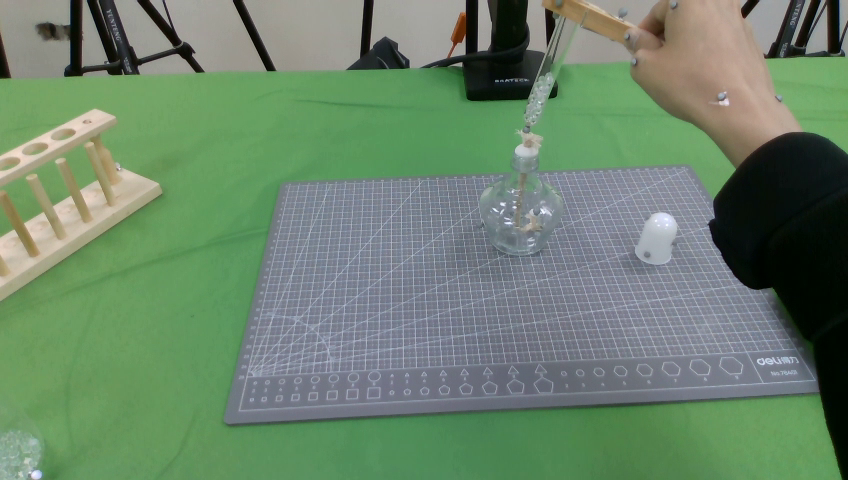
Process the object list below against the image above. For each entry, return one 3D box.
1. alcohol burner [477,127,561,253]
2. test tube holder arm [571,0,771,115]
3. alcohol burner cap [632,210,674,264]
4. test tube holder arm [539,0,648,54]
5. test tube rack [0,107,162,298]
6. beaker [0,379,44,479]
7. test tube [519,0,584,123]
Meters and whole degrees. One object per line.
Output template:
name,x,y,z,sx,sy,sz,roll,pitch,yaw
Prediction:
alcohol burner,0.087,-0.047,0.547,0.078,0.120,0.077,-1,40,1
test tube holder arm,0.157,-0.136,0.423,0.013,0.015,0.177,-24,53,-40
alcohol burner cap,0.210,-0.005,0.551,0.034,0.048,0.033,-1,41,1
test tube holder arm,0.122,-0.159,0.438,0.087,0.015,0.010,35,41,22
test tube rack,-0.372,-0.026,0.559,0.066,0.086,0.241,22,46,23
beaker,-0.300,0.120,0.382,0.084,0.101,0.073,-19,44,-18
test tube,0.103,-0.158,0.462,0.017,0.151,0.017,12,35,-8
